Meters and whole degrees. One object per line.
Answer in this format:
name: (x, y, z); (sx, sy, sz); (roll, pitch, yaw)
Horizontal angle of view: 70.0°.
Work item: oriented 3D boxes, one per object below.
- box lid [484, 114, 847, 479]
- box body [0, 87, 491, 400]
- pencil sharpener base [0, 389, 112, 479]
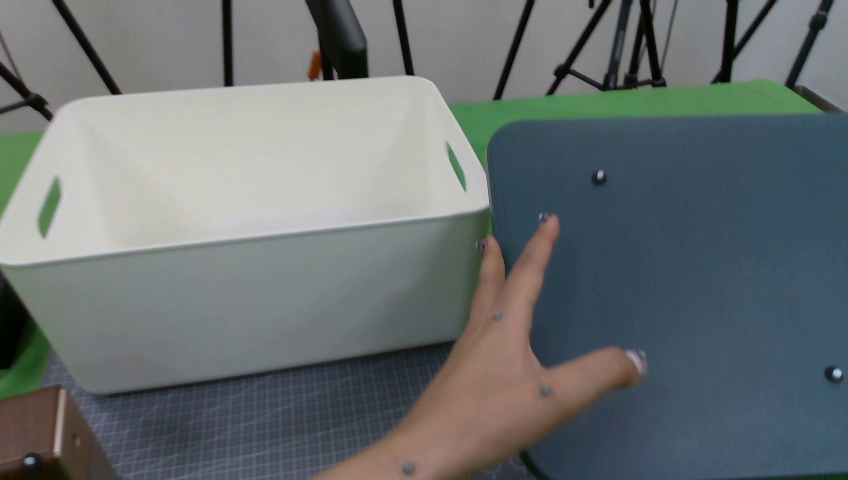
box lid: (0.229, 0.024, 0.404); (0.372, 0.015, 0.261); (-2, 63, -3)
box body: (-0.141, -0.011, 0.573); (0.365, 0.162, 0.251); (-7, 39, -11)
pencil sharpener base: (-0.259, 0.159, 0.392); (0.077, 0.108, 0.060); (-12, 41, -16)
